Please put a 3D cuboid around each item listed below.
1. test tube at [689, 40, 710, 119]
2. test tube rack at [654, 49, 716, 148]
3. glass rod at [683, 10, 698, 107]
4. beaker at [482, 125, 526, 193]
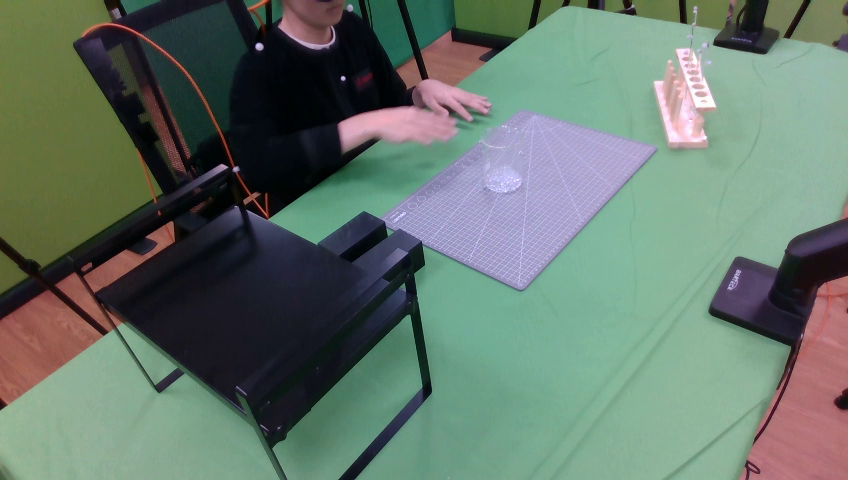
[{"bbox_3d":[0.506,-0.291,1.112,0.017,0.151,0.017,-5,38,4],"label":"test tube"},{"bbox_3d":[0.502,-0.281,1.176,0.066,0.085,0.241,2,41,11],"label":"test tube rack"},{"bbox_3d":[0.501,-0.336,1.139,0.008,0.201,0.008,-8,43,8],"label":"glass rod"},{"bbox_3d":[0.141,-0.141,1.055,0.073,0.101,0.084,10,43,20],"label":"beaker"}]
